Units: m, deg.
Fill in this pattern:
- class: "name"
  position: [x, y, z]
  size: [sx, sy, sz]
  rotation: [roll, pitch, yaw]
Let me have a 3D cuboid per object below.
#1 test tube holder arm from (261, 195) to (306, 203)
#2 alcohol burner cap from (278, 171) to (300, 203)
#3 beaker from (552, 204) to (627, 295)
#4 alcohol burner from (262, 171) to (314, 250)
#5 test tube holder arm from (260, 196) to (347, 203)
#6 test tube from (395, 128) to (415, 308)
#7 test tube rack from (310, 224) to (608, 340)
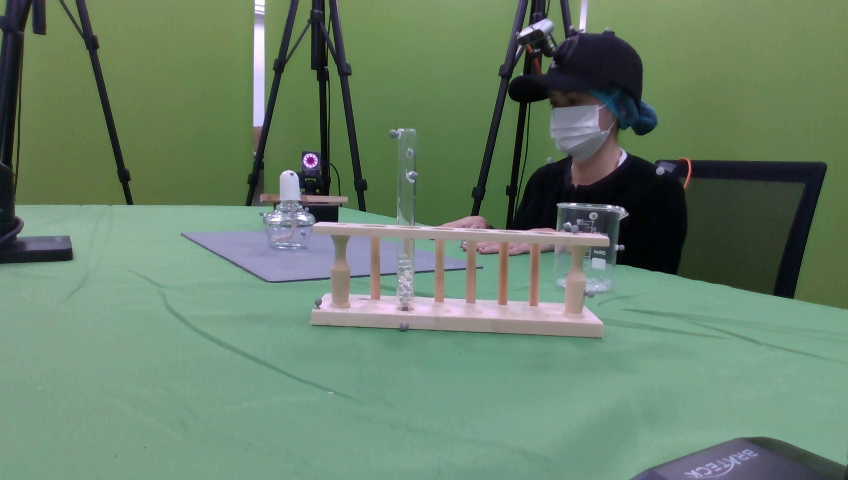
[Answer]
- class: "test tube holder arm"
  position: [-0.275, -0.081, 1.184]
  size: [0.088, 0.015, 0.010]
  rotation: [-1, 0, -32]
- class: "alcohol burner cap"
  position: [-0.203, -0.080, 0.909]
  size: [0.034, 0.048, 0.034]
  rotation: [-1, 3, 0]
- class: "beaker"
  position: [0.191, 0.010, 0.708]
  size: [0.083, 0.100, 0.074]
  rotation: [8, 9, 33]
- class: "alcohol burner"
  position: [-0.205, -0.045, 0.913]
  size: [0.078, 0.119, 0.078]
  rotation: [1, 9, 0]
- class: "test tube holder arm"
  position: [-0.239, -0.082, 1.213]
  size: [0.179, 0.015, 0.013]
  rotation: [-1, 0, -32]
- class: "test tube"
  position: [-0.016, -0.016, 0.501]
  size: [0.017, 0.150, 0.017]
  rotation: [1, 10, 0]
- class: "test tube rack"
  position: [0.028, 0.032, 0.528]
  size: [0.242, 0.085, 0.067]
  rotation: [3, 7, 0]
